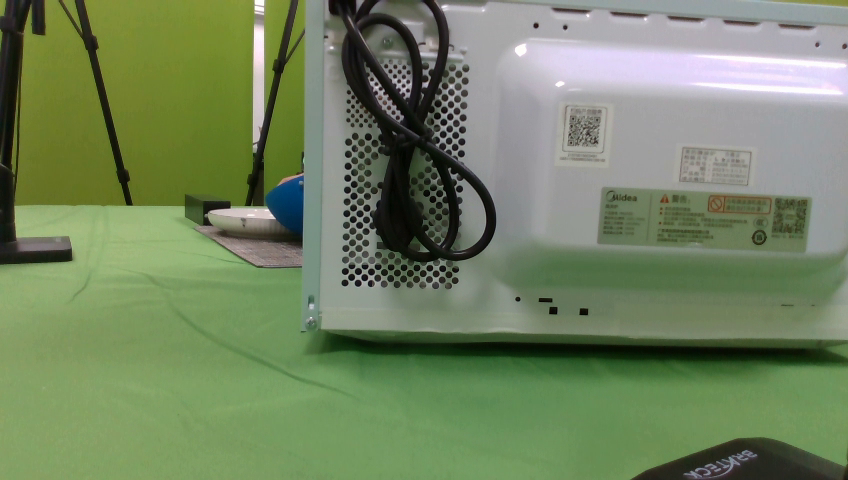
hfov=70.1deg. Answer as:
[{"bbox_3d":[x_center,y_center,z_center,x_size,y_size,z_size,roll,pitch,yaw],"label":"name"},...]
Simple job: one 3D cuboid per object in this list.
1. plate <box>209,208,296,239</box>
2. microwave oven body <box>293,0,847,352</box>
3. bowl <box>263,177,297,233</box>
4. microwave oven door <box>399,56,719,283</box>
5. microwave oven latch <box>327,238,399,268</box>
[{"bbox_3d":[-0.271,-0.029,1.074,0.208,0.039,0.207,3,7,0],"label":"plate"},{"bbox_3d":[0.122,-0.055,0.550,0.442,0.260,0.325,3,7,-5],"label":"microwave oven body"},{"bbox_3d":[-0.165,-0.045,0.941,0.151,0.076,0.151,-17,-10,-3],"label":"bowl"},{"bbox_3d":[0.155,-0.078,0.698,0.356,0.243,0.039,2,8,-5],"label":"microwave oven door"},{"bbox_3d":[-0.069,0.015,0.694,0.079,0.029,0.030,3,7,-3],"label":"microwave oven latch"}]
